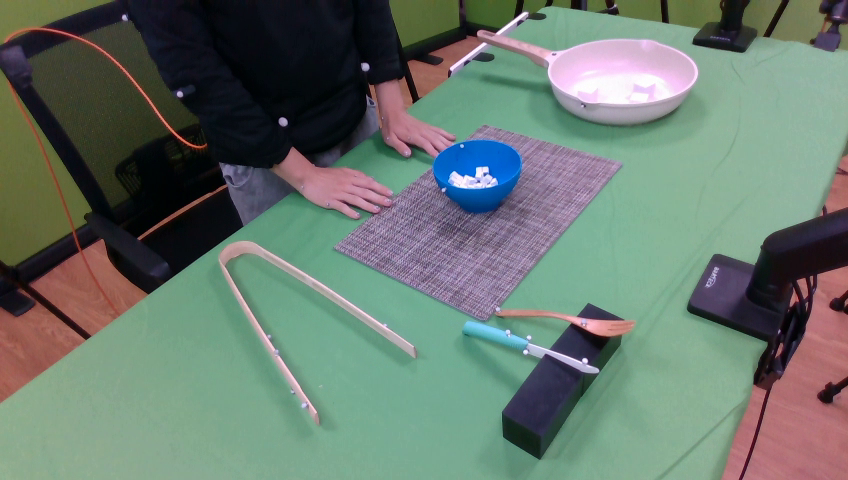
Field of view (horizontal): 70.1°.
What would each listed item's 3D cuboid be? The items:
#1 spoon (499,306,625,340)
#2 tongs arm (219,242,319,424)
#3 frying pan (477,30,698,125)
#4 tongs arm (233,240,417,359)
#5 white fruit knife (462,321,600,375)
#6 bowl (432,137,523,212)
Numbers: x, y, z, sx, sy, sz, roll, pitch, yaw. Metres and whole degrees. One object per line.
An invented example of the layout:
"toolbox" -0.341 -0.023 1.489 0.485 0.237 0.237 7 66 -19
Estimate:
"spoon" 0.169 0.102 0.773 0.042 0.021 0.192 -10 13 -38
"tongs arm" -0.220 0.114 0.856 0.051 0.026 0.381 -28 44 -24
"frying pan" 0.321 -0.371 1.290 0.484 0.103 0.308 29 51 24
"tongs arm" -0.157 0.078 0.896 0.384 0.028 0.028 26 53 33
"white fruit knife" 0.126 0.132 0.752 0.205 0.027 0.016 12 48 42
"bowl" 0.091 -0.100 1.022 0.151 0.077 0.150 -4 41 4
